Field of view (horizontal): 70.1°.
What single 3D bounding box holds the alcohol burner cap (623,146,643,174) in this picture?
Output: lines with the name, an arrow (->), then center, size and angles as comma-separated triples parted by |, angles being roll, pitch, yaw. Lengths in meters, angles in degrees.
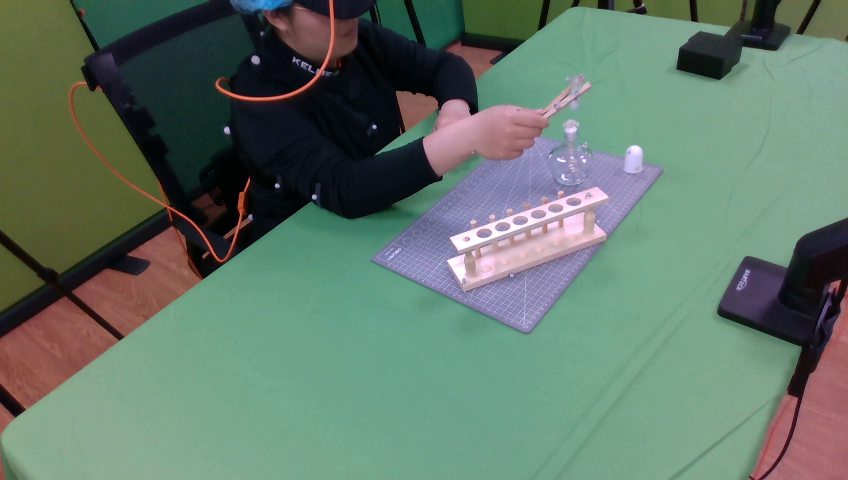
alcohol burner cap -> 0.369, -0.142, 1.061 | 0.034, 0.048, 0.033 | -7, 40, 6

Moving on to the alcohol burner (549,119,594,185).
alcohol burner -> 0.254, -0.155, 1.043 | 0.078, 0.120, 0.077 | -7, 40, 7

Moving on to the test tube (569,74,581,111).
test tube -> 0.235, -0.226, 0.939 | 0.017, 0.151, 0.017 | -1, 86, 13

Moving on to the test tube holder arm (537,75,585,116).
test tube holder arm -> 0.210, -0.218, 0.927 | 0.087, 0.015, 0.010 | -42, 83, 16

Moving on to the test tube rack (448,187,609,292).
test tube rack -> 0.155, -0.011, 0.913 | 0.243, 0.085, 0.066 | -19, 41, -11

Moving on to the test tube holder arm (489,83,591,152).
test tube holder arm -> 0.178, -0.189, 0.939 | 0.178, 0.013, 0.015 | -33, -5, 17
